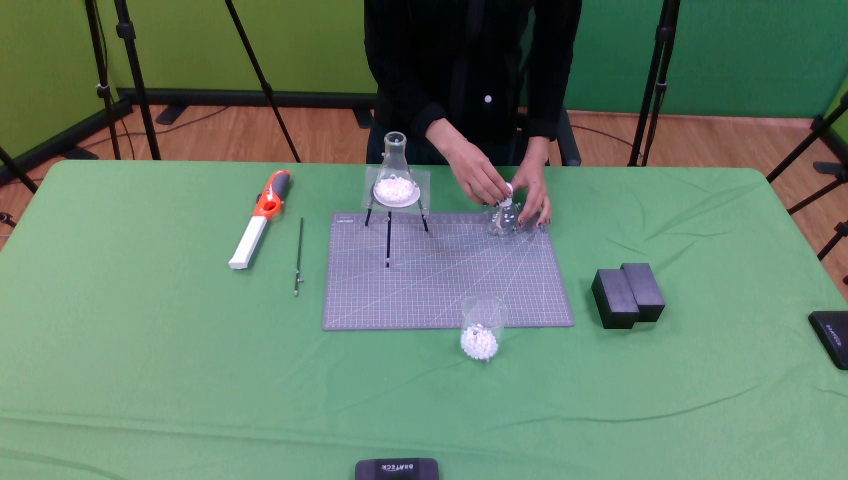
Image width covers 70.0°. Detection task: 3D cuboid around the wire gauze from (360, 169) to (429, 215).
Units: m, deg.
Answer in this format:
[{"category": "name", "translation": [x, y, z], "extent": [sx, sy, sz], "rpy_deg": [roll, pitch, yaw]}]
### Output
[{"category": "wire gauze", "translation": [-0.052, -0.092, 1.111], "extent": [0.125, 0.011, 0.120], "rpy_deg": [3, 43, 1]}]

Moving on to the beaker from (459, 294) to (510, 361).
[{"category": "beaker", "translation": [0.095, 0.147, 1.012], "extent": [0.083, 0.101, 0.074], "rpy_deg": [26, 49, 21]}]

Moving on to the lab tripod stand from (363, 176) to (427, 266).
[{"category": "lab tripod stand", "translation": [-0.058, -0.047, 1.159], "extent": [0.148, 0.132, 0.147], "rpy_deg": [3, 44, -2]}]

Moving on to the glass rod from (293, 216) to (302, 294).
[{"category": "glass rod", "translation": [-0.242, 0.024, 1.166], "extent": [0.008, 0.008, 0.198], "rpy_deg": [-2, 47, -5]}]

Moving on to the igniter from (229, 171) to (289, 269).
[{"category": "igniter", "translation": [-0.328, -0.049, 1.218], "extent": [0.057, 0.025, 0.275], "rpy_deg": [1, 45, 11]}]

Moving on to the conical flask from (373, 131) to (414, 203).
[{"category": "conical flask", "translation": [-0.053, -0.131, 1.067], "extent": [0.075, 0.122, 0.075], "rpy_deg": [2, 44, -2]}]

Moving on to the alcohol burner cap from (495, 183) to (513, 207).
[{"category": "alcohol burner cap", "translation": [0.157, -0.091, 1.182], "extent": [0.034, 0.048, 0.033], "rpy_deg": [1, 51, -1]}]

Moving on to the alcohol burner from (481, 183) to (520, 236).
[{"category": "alcohol burner", "translation": [0.155, -0.066, 1.209], "extent": [0.078, 0.119, 0.077], "rpy_deg": [3, 44, -3]}]
